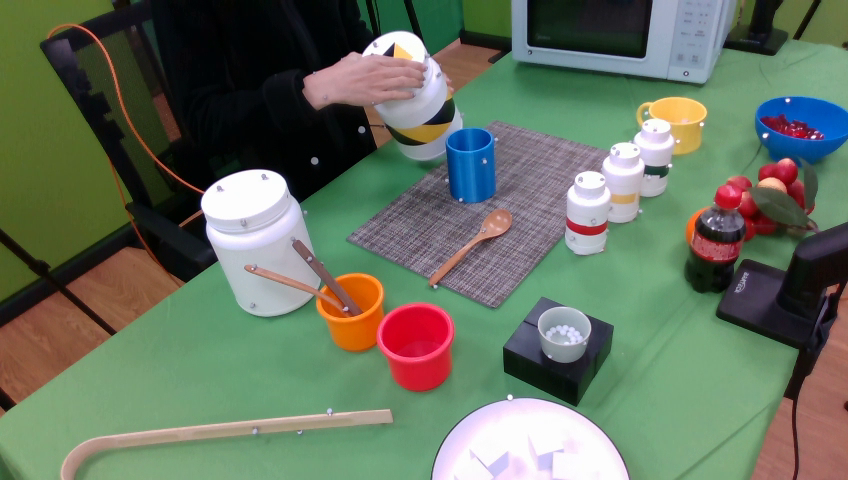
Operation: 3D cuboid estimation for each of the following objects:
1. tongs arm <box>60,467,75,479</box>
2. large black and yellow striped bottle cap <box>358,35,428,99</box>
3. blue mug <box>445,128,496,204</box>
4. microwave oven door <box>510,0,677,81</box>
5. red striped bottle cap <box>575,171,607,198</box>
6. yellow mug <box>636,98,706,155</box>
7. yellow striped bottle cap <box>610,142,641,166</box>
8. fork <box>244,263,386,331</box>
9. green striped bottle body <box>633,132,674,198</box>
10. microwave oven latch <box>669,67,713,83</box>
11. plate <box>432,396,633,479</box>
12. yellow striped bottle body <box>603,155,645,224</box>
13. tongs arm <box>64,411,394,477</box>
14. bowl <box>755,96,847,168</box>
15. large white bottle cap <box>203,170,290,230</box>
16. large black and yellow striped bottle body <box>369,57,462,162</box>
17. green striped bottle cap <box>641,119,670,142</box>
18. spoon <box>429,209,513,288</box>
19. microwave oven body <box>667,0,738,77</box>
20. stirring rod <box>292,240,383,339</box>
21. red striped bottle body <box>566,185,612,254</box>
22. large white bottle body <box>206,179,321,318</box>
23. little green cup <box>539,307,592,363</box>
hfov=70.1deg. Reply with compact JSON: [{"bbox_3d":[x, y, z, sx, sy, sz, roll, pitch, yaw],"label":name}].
[{"bbox_3d":[-0.239,0.301,0.648,0.386,0.028,0.028,6,49,16],"label":"tongs arm"},{"bbox_3d":[-0.051,-0.278,0.969,0.114,0.019,0.114,-7,65,15],"label":"large black and yellow striped bottle cap"},{"bbox_3d":[0.083,-0.139,1.058,0.082,0.106,0.116,-2,40,7],"label":"blue mug"},{"bbox_3d":[0.354,-0.478,1.290,0.353,0.245,0.039,15,45,25],"label":"microwave oven door"},{"bbox_3d":[0.242,-0.082,0.876,0.044,0.018,0.044,-5,44,5],"label":"red striped bottle cap"},{"bbox_3d":[0.453,-0.217,1.128,0.100,0.064,0.129,-34,46,-27],"label":"yellow mug"},{"bbox_3d":[0.308,-0.131,0.925,0.044,0.019,0.044,-4,45,4],"label":"yellow striped bottle cap"},{"bbox_3d":[-0.141,0.077,0.807,0.209,0.018,0.028,30,44,-24],"label":"fork"},{"bbox_3d":[0.376,-0.135,1.001,0.063,0.120,0.063,-5,40,5],"label":"green striped bottle body"},{"bbox_3d":[0.556,-0.348,1.261,0.078,0.029,0.030,16,46,27],"label":"microwave oven latch"},{"bbox_3d":[0.112,0.261,0.634,0.209,0.038,0.208,-5,40,4],"label":"plate"},{"bbox_3d":[0.314,-0.090,0.957,0.063,0.121,0.062,-4,40,4],"label":"yellow striped bottle body"},{"bbox_3d":[-0.228,0.241,0.715,0.385,0.026,0.050,-5,43,4],"label":"tongs arm"},{"bbox_3d":[0.645,-0.177,1.041,0.151,0.077,0.150,-5,40,4],"label":"bowl"},{"bbox_3d":[-0.241,-0.057,0.822,0.115,0.018,0.114,-4,40,4],"label":"large white bottle cap"},{"bbox_3d":[-0.017,-0.238,1.063,0.130,0.185,0.130,-9,60,16],"label":"large black and yellow striped bottle body"},{"bbox_3d":[0.371,-0.175,0.968,0.044,0.020,0.044,-5,42,5],"label":"green striped bottle cap"},{"bbox_3d":[0.072,0.012,0.945,0.041,0.021,0.194,40,57,17],"label":"spoon"},{"bbox_3d":[0.462,-0.552,1.369,0.439,0.261,0.326,15,45,26],"label":"microwave oven body"},{"bbox_3d":[-0.118,0.068,0.826,0.176,0.006,0.014,49,59,-4],"label":"stirring rod"},{"bbox_3d":[0.248,-0.041,0.910,0.063,0.120,0.062,-4,41,4],"label":"red striped bottle body"},{"bbox_3d":[-0.233,0.007,0.876,0.130,0.185,0.130,-5,40,4],"label":"large white bottle body"},{"bbox_3d":[0.168,0.115,0.721,0.061,0.039,0.061,-4,42,4],"label":"little green cup"}]
